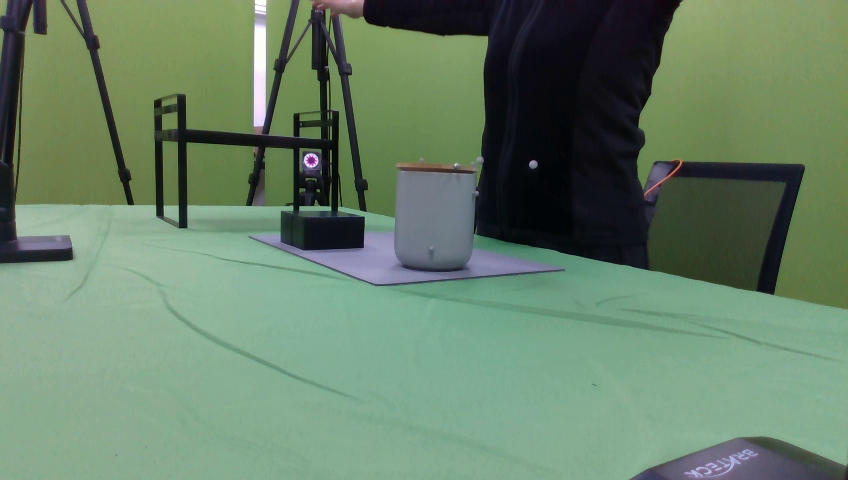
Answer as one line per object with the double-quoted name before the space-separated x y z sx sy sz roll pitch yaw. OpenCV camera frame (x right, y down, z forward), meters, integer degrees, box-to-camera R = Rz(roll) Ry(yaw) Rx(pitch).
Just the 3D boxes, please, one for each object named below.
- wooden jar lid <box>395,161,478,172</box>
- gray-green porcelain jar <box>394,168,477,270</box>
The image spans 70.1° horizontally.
"wooden jar lid" 0.016 -0.090 0.784 0.108 0.020 0.108 4 5 0
"gray-green porcelain jar" 0.014 -0.029 0.793 0.106 0.126 0.106 2 7 0
